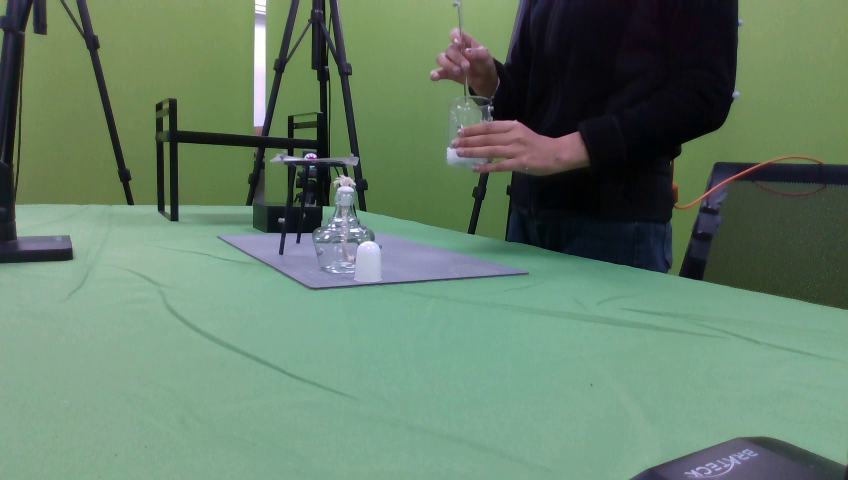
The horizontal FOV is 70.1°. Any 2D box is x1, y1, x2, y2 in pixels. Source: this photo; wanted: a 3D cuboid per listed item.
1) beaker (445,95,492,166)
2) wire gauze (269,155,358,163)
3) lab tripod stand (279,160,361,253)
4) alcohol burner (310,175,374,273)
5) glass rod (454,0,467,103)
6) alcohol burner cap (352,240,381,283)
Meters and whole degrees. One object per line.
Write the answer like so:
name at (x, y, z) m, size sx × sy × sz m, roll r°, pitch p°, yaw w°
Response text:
beaker at (0.066, -0.170, 0.944) m, size 0.073 × 0.100 × 0.084 m, roll 0°, pitch 0°, yaw 36°
wire gauze at (-0.159, -0.118, 0.886) m, size 0.122 × 0.011 × 0.125 m, roll 1°, pitch 7°, yaw -9°
lab tripod stand at (-0.166, -0.052, 0.897) m, size 0.148 × 0.131 × 0.148 m, roll 0°, pitch 7°, yaw 0°
alcohol burner at (-0.100, -0.020, 0.741) m, size 0.078 × 0.119 × 0.078 m, roll 1°, pitch 6°, yaw 0°
glass rod at (0.056, -0.317, 0.947) m, size 0.008 × 0.199 × 0.008 m, roll -6°, pitch 15°, yaw 2°
alcohol burner cap at (-0.065, 0.023, 0.690) m, size 0.034 × 0.048 × 0.034 m, roll 2°, pitch 8°, yaw 0°
